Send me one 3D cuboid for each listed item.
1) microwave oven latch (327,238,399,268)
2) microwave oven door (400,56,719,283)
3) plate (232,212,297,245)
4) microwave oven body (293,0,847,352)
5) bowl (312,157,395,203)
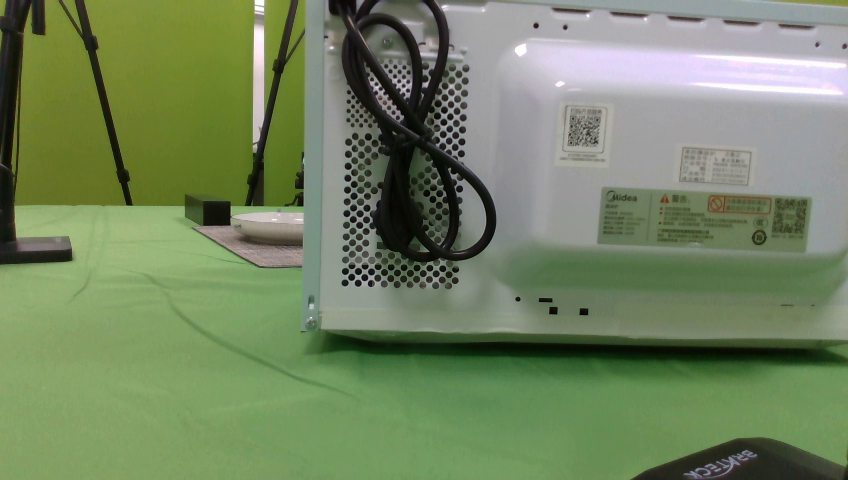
[{"bbox_3d":[-0.069,0.015,0.694,0.079,0.029,0.030,3,7,-3],"label":"microwave oven latch"},{"bbox_3d":[0.155,-0.078,0.698,0.356,0.243,0.039,2,8,-5],"label":"microwave oven door"},{"bbox_3d":[-0.214,-0.019,1.018,0.208,0.039,0.207,3,7,0],"label":"plate"},{"bbox_3d":[0.122,-0.055,0.550,0.442,0.260,0.325,3,7,-5],"label":"microwave oven body"},{"bbox_3d":[-0.128,-0.111,1.107,0.151,0.077,0.151,1,10,0],"label":"bowl"}]
